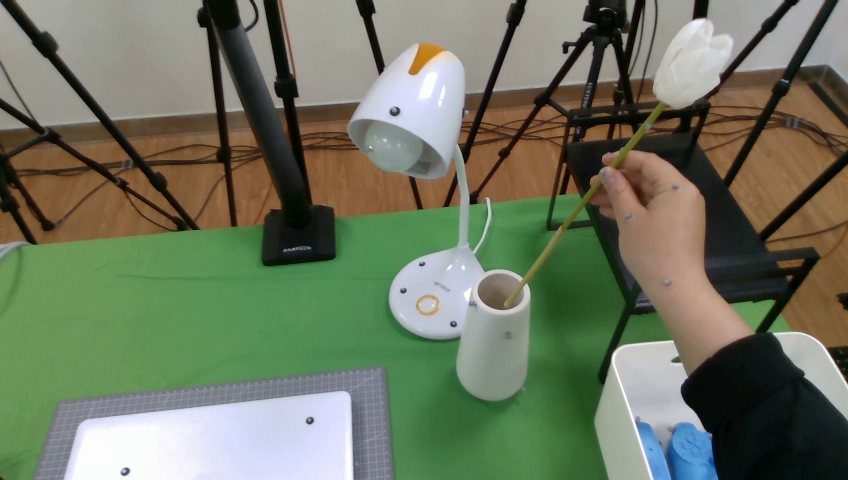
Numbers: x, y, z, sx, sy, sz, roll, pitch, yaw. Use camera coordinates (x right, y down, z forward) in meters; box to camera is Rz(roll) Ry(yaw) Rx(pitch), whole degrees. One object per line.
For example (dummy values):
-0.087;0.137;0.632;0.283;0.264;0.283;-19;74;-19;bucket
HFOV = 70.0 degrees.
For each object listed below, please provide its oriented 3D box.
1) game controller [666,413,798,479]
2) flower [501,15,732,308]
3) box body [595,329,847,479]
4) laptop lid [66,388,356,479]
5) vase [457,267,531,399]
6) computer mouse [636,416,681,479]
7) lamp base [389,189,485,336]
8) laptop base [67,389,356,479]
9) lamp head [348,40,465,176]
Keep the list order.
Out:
0.380;0.265;0.752;0.155;0.052;0.096;-2;47;-4;game controller
0.142;-0.035;0.542;0.038;0.363;0.043;2;52;-21;flower
0.355;0.296;0.654;0.254;0.162;0.360;-4;48;-3;box body
-0.259;0.302;0.731;0.357;0.013;0.239;-4;51;-3;laptop lid
0.092;0.122;0.785;0.098;0.202;0.097;-1;47;2;vase
0.270;0.268;0.752;0.063;0.041;0.116;-7;39;-3;computer mouse
0.031;0.021;0.889;0.160;0.182;0.178;21;49;18;lamp base
-0.259;0.308;0.741;0.355;0.023;0.233;-5;52;-5;laptop base
-0.005;-0.142;0.632;0.112;0.113;0.122;18;68;16;lamp head
